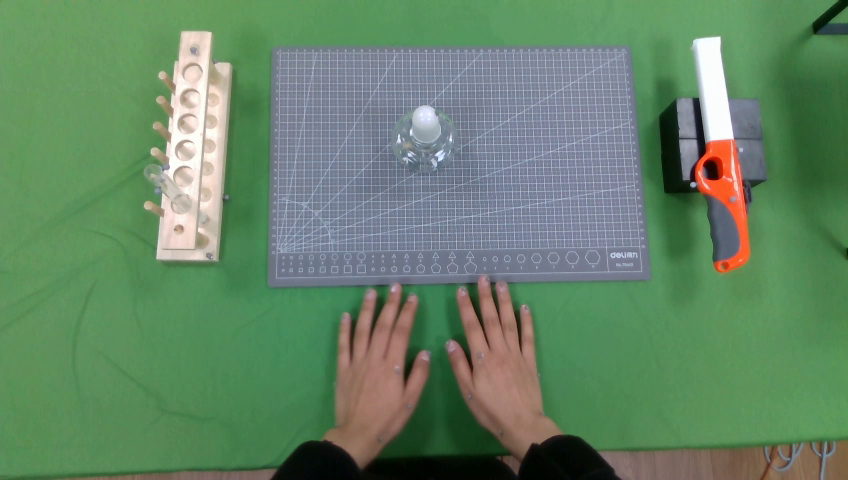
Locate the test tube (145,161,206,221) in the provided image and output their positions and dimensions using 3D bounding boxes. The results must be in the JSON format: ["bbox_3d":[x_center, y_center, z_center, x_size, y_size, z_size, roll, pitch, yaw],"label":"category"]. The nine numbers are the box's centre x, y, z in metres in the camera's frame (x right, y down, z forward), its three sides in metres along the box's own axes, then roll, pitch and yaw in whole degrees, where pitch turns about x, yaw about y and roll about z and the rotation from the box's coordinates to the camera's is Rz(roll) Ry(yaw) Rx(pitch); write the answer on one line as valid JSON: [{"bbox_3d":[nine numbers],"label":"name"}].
[{"bbox_3d":[-0.252,-0.047,0.623,0.017,0.151,0.017,1,75,-4],"label":"test tube"}]

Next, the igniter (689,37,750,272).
[{"bbox_3d":[0.334,-0.101,0.691,0.057,0.025,0.275,-3,79,8],"label":"igniter"}]

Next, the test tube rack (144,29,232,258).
[{"bbox_3d":[-0.269,-0.106,0.682,0.067,0.085,0.241,1,80,-2],"label":"test tube rack"}]

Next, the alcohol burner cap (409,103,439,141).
[{"bbox_3d":[0.000,-0.128,0.645,0.034,0.048,0.033,0,78,0],"label":"alcohol burner cap"}]

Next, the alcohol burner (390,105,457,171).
[{"bbox_3d":[0.000,-0.121,0.680,0.078,0.119,0.077,0,81,-1],"label":"alcohol burner"}]
